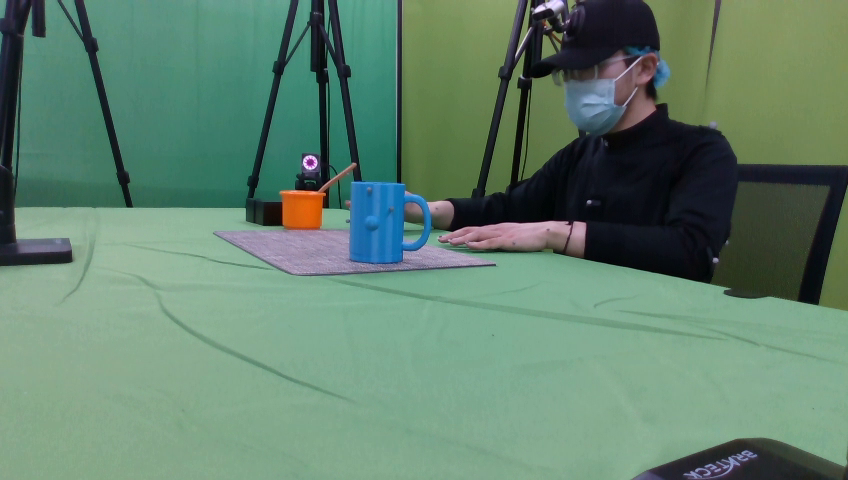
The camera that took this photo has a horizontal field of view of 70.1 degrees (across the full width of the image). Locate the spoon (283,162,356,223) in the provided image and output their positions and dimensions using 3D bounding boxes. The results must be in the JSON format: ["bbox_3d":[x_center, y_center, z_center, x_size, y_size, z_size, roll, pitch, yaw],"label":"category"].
[{"bbox_3d":[-0.211,-0.098,1.234,0.022,0.194,0.041,47,-11,-17],"label":"spoon"}]

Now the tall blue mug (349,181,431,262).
[{"bbox_3d":[-0.051,-0.028,0.849,0.108,0.108,0.077,-1,7,-22],"label":"tall blue mug"}]
